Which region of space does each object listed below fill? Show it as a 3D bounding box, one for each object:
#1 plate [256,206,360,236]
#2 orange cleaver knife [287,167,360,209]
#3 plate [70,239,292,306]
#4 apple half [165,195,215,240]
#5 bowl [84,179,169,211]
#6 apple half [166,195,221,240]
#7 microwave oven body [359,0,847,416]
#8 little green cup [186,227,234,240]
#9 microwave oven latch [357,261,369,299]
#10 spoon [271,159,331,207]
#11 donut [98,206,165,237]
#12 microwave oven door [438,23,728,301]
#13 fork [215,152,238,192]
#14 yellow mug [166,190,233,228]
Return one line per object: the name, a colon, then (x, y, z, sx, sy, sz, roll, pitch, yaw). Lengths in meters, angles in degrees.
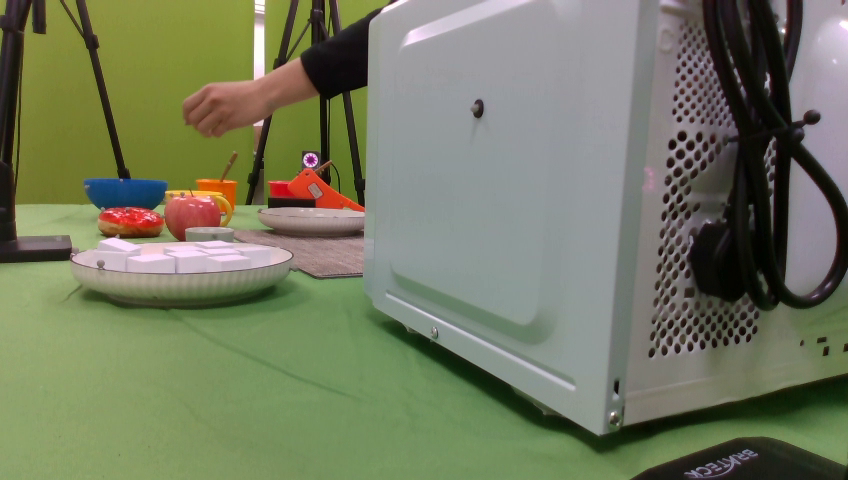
plate: (-0.202, -0.037, 1.120, 0.209, 0.038, 0.209, 2, 8, 0)
orange cleaver knife: (-0.209, -0.089, 1.383, 0.212, 0.077, 0.012, 31, 4, -15)
plate: (-0.242, 0.031, 0.618, 0.208, 0.039, 0.207, 3, 8, 0)
apple half: (-0.377, -0.038, 0.964, 0.082, 0.081, 0.032, -4, 15, -39)
bowl: (-0.584, -0.078, 1.194, 0.151, 0.077, 0.151, 3, 8, 0)
apple half: (-0.351, -0.031, 0.935, 0.081, 0.074, 0.053, 1, 11, -40)
microwave oven body: (0.211, -0.047, 0.474, 0.444, 0.260, 0.324, -1, 7, -28)
little green cup: (-0.285, 0.005, 0.805, 0.061, 0.038, 0.061, 2, 8, 0)
microwave oven latch: (-0.019, 0.034, 0.529, 0.079, 0.029, 0.030, 0, 7, -24)
spoon: (-0.308, -0.141, 1.513, 0.193, 0.021, 0.041, -42, 0, 8)
donut: (-0.472, -0.028, 0.979, 0.099, 0.048, 0.099, 5, 8, 0)
microwave oven door: (0.181, -0.072, 0.620, 0.358, 0.243, 0.039, -2, 8, -29)
fork: (-0.455, -0.132, 1.366, 0.028, 0.018, 0.207, -2, -35, -37)
yellow mug: (-0.415, -0.057, 1.132, 0.130, 0.064, 0.100, 6, 8, 16)
